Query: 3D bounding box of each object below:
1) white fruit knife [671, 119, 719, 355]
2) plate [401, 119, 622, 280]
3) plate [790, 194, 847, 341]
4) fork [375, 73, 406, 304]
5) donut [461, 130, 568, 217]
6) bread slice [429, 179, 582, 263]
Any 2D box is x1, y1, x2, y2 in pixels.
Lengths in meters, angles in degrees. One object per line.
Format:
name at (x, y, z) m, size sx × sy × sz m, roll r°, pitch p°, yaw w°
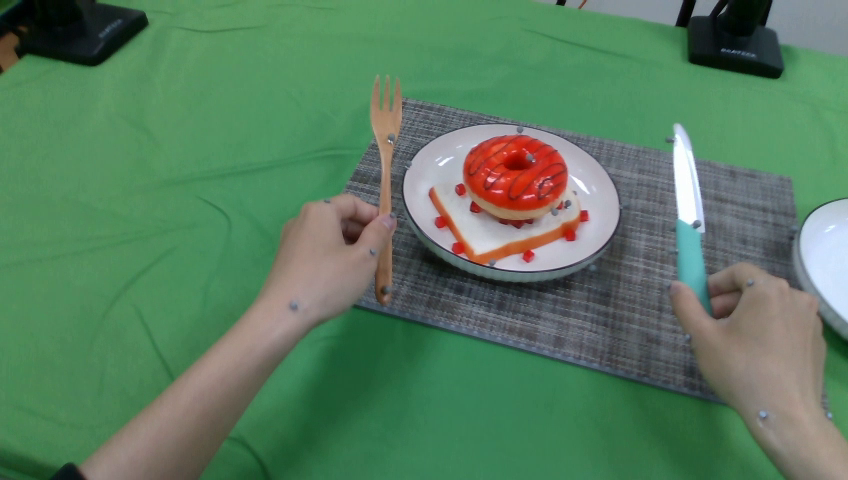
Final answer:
white fruit knife at (0.215, -0.010, 0.492) m, size 0.027 × 0.016 × 0.206 m, roll 7°, pitch 67°, yaw -6°
plate at (0.081, -0.040, 0.587) m, size 0.209 × 0.038 × 0.207 m, roll 1°, pitch 49°, yaw -1°
plate at (0.430, 0.043, 0.537) m, size 0.208 × 0.039 × 0.205 m, roll 2°, pitch 48°, yaw -1°
fork at (-0.029, -0.048, 0.498) m, size 0.028 × 0.019 × 0.205 m, roll -7°, pitch 66°, yaw 15°
donut at (0.083, -0.063, 0.560) m, size 0.099 × 0.048 × 0.098 m, roll 2°, pitch 48°, yaw -1°
bread slice at (0.083, -0.034, 0.586) m, size 0.132 × 0.019 × 0.103 m, roll -19°, pitch 52°, yaw -17°
